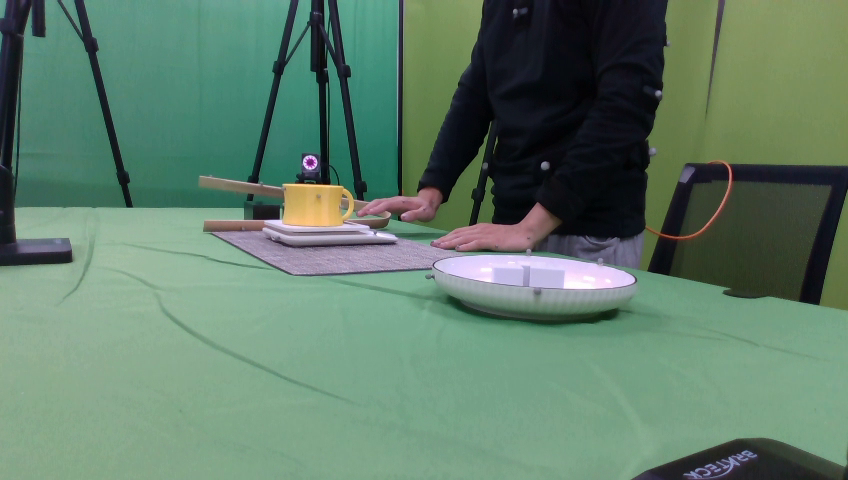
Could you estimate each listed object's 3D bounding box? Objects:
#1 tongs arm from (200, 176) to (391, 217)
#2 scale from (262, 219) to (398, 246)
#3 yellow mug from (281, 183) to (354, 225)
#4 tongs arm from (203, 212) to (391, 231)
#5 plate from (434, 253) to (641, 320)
[{"bbox_3d":[-0.258,-0.084,1.245,0.387,0.026,0.050,6,32,-22],"label":"tongs arm"},{"bbox_3d":[-0.160,-0.015,1.028,0.202,0.031,0.148,-1,8,-32],"label":"scale"},{"bbox_3d":[-0.172,-0.061,1.009,0.131,0.064,0.099,-2,8,-42],"label":"yellow mug"},{"bbox_3d":[-0.231,-0.035,1.185,0.390,0.028,0.028,-3,33,-33],"label":"tongs arm"},{"bbox_3d":[0.114,0.047,0.625,0.208,0.039,0.207,2,7,0],"label":"plate"}]
